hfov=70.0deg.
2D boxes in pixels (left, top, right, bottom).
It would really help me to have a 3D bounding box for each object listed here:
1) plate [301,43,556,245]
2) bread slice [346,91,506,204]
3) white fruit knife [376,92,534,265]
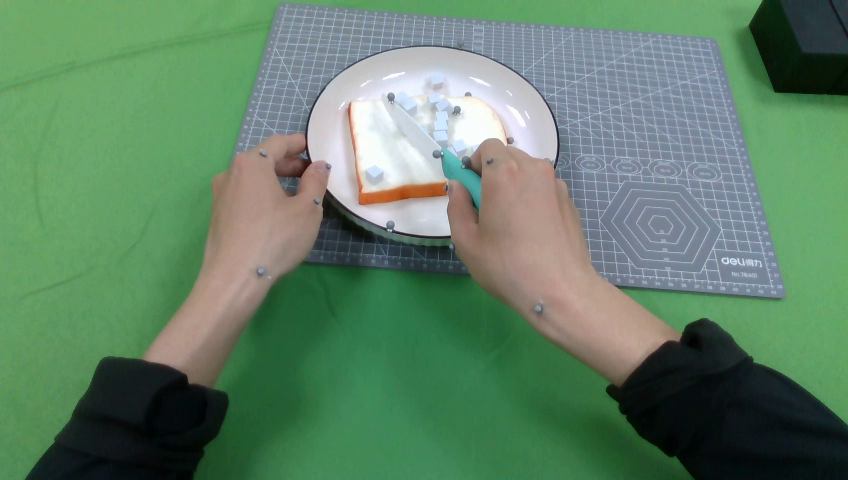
[{"bbox_3d":[0.004,-0.081,0.506,0.209,0.038,0.207,2,59,-2],"label":"plate"},{"bbox_3d":[0.002,-0.085,0.511,0.132,0.019,0.104,-9,59,-8],"label":"bread slice"},{"bbox_3d":[0.014,-0.057,0.449,0.016,0.027,0.205,-20,51,-28],"label":"white fruit knife"}]
